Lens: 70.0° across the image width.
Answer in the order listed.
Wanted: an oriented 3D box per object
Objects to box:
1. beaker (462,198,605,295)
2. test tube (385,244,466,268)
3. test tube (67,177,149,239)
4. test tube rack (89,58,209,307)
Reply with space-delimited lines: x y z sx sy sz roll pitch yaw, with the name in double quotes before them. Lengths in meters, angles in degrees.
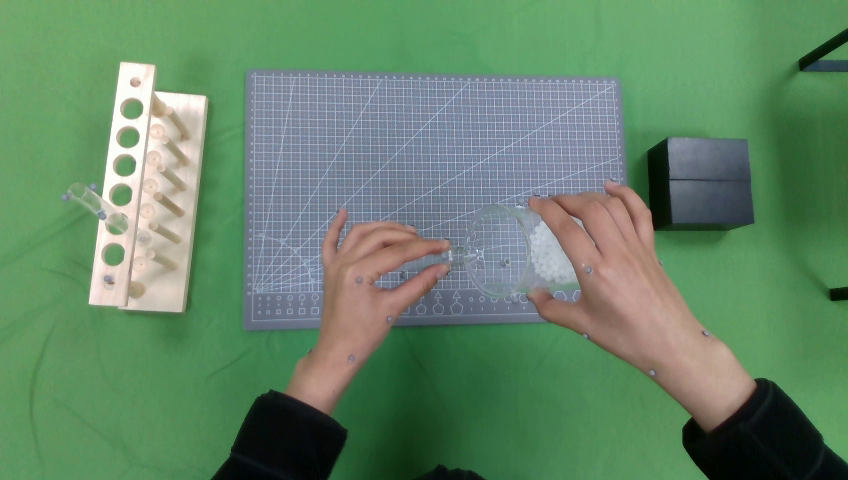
"beaker" 0.091 0.006 0.500 0.101 0.083 0.074 -1 85 -37
"test tube" -0.004 0.016 0.570 0.017 0.150 0.017 2 85 -26
"test tube" -0.294 -0.026 0.575 0.017 0.151 0.017 1 75 -4
"test tube rack" -0.281 -0.054 0.630 0.067 0.085 0.241 4 82 -6
